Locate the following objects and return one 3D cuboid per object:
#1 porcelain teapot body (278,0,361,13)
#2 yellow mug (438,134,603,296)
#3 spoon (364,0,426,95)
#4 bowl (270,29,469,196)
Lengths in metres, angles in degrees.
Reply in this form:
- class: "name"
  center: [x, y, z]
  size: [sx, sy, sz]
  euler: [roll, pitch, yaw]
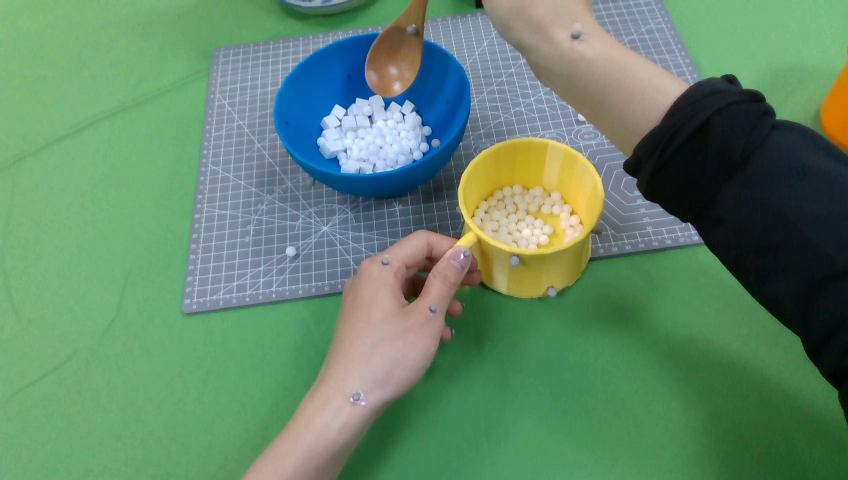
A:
- class: "porcelain teapot body"
  center: [-0.145, -0.341, 0.568]
  size: [0.205, 0.227, 0.144]
  euler: [-3, 59, 5]
- class: "yellow mug"
  center: [0.062, -0.009, 0.435]
  size: [0.131, 0.064, 0.099]
  euler: [-37, 62, -15]
- class: "spoon"
  center: [0.006, -0.180, 0.406]
  size: [0.041, 0.194, 0.021]
  euler: [37, 42, 4]
- class: "bowl"
  center: [-0.038, -0.088, 0.485]
  size: [0.151, 0.077, 0.150]
  euler: [-2, 58, 4]
